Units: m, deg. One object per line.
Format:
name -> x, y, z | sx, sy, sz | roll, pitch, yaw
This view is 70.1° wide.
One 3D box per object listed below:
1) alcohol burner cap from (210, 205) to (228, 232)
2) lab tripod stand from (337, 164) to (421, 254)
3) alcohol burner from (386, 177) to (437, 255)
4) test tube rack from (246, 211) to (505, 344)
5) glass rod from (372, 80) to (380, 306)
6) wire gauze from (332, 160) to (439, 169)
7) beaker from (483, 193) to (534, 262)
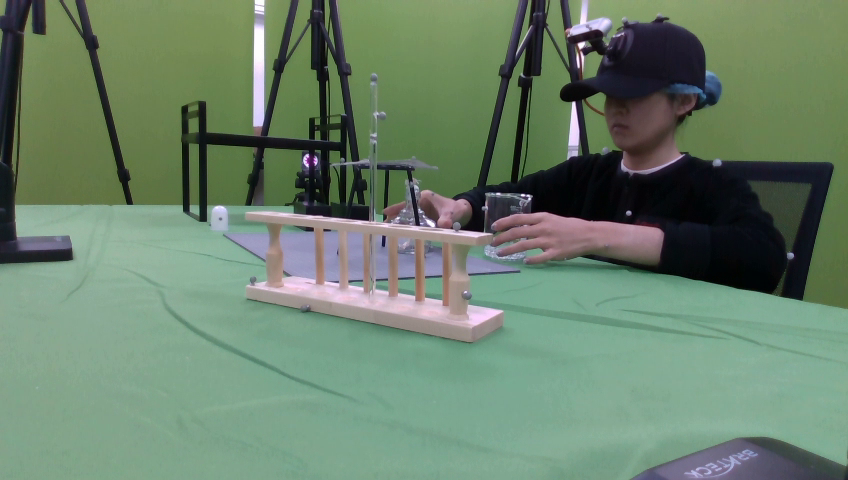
alcohol burner cap -> -0.376, -0.040, 1.107 | 0.034, 0.048, 0.034 | 2, 7, 0
lab tripod stand -> -0.061, -0.046, 0.894 | 0.148, 0.131, 0.148 | 1, 6, 0
alcohol burner -> -0.018, -0.037, 0.919 | 0.078, 0.119, 0.078 | 3, 5, 0
test tube rack -> -0.049, 0.025, 0.547 | 0.241, 0.085, 0.067 | 7, 8, 29
glass rod -> -0.042, -0.039, 0.530 | 0.008, 0.199, 0.008 | 0, 2, 0
wire gauze -> -0.054, -0.111, 0.884 | 0.121, 0.011, 0.125 | 4, 7, 18
beaker -> 0.129, -0.019, 0.924 | 0.074, 0.100, 0.083 | -2, 9, -34
